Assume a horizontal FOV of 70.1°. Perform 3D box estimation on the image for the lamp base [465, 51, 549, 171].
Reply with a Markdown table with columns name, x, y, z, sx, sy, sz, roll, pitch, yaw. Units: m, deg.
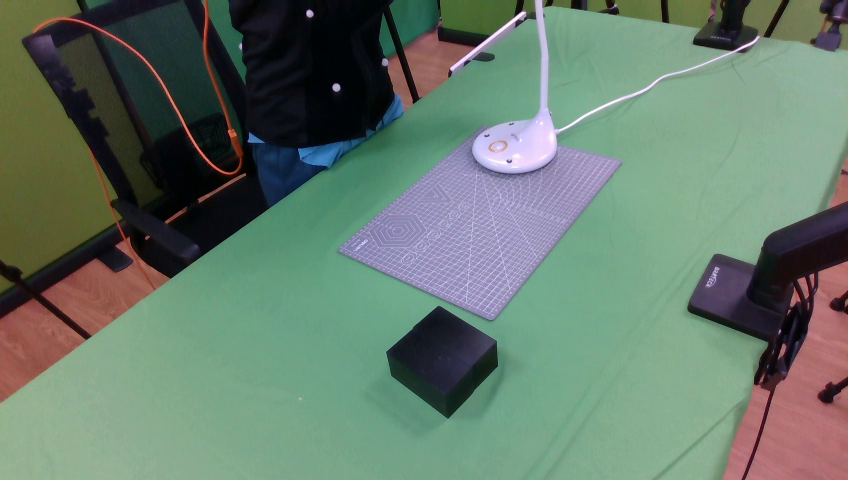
| name | x | y | z | sx | sy | sz | roll | pitch | yaw |
| --- | --- | --- | --- | --- | --- | --- | --- | --- | --- |
| lamp base | 0.159 | -0.243 | 1.103 | 0.180 | 0.181 | 0.159 | -32 | 46 | -29 |

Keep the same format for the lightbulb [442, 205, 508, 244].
| name | x | y | z | sx | sy | sz | roll | pitch | yaw |
| --- | --- | --- | --- | --- | --- | --- | --- | --- | --- |
| lightbulb | 0.081 | -0.019 | 0.955 | 0.107 | 0.059 | 0.059 | 17 | 44 | 5 |
